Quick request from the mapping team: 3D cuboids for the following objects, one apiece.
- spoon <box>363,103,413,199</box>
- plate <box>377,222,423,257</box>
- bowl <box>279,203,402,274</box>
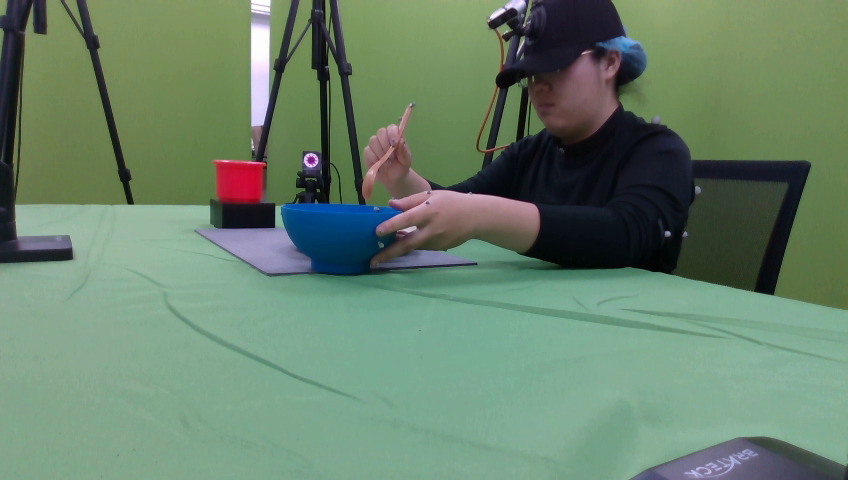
[{"bbox_3d":[-0.053,-0.141,0.934,0.022,0.194,0.041,33,-31,-11],"label":"spoon"},{"bbox_3d":[-0.105,-0.003,0.922,0.208,0.039,0.207,3,7,0],"label":"plate"},{"bbox_3d":[-0.103,-0.002,0.750,0.151,0.077,0.151,3,7,0],"label":"bowl"}]
